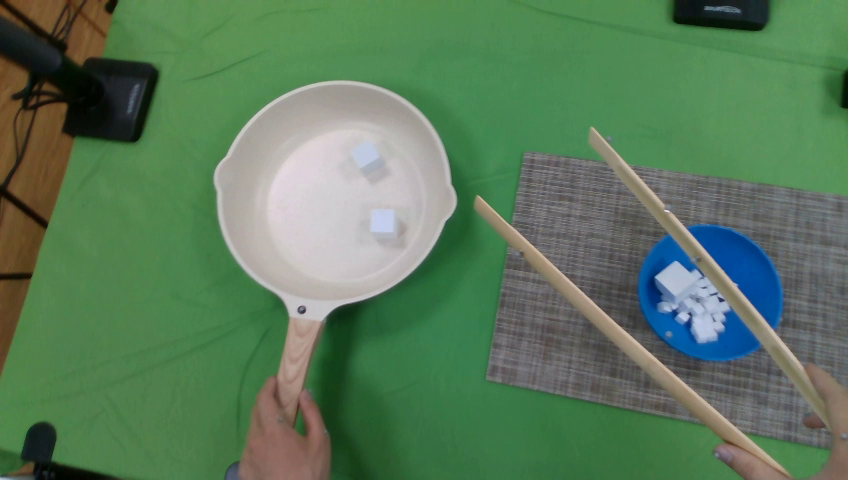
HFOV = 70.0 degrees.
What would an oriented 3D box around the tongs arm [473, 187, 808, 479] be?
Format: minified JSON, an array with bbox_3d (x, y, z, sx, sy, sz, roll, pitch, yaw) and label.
[{"bbox_3d":[0.179,0.075,0.509,0.028,0.028,0.384,-37,65,-21],"label":"tongs arm"}]

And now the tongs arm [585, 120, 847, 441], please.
[{"bbox_3d":[0.242,0.037,0.526,0.051,0.027,0.381,-28,63,-13],"label":"tongs arm"}]

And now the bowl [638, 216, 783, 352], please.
[{"bbox_3d":[0.314,0.055,0.692,0.151,0.077,0.150,-1,76,6],"label":"bowl"}]

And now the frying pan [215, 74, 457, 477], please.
[{"bbox_3d":[-0.128,0.031,0.735,0.306,0.103,0.485,8,69,9],"label":"frying pan"}]
